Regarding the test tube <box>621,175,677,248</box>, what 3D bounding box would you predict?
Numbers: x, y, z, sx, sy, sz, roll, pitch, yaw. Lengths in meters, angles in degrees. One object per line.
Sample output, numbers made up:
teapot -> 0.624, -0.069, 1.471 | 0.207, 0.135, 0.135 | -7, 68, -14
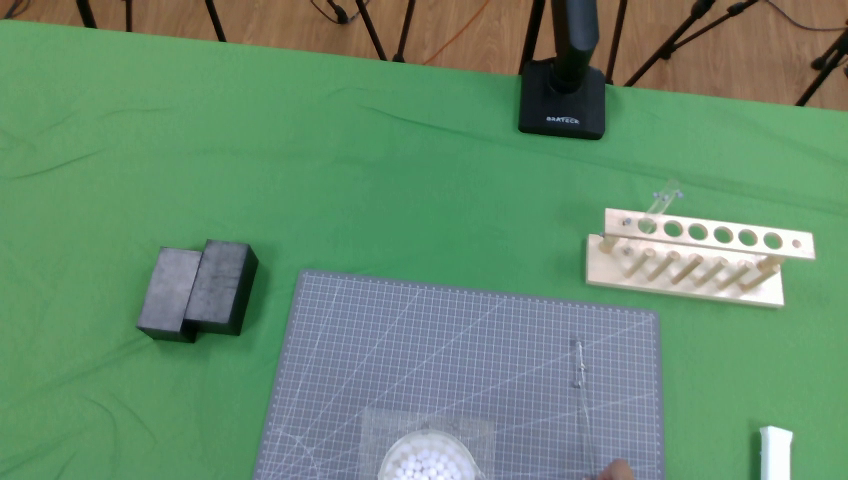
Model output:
test tube -> 0.258, -0.029, 0.704 | 0.017, 0.151, 0.017 | 0, 63, 0

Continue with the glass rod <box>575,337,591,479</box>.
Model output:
glass rod -> 0.182, 0.208, 0.689 | 0.008, 0.008, 0.198 | 2, 68, -1

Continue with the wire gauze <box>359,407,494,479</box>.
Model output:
wire gauze -> 0.000, 0.213, 0.542 | 0.125, 0.011, 0.120 | 3, 64, 2

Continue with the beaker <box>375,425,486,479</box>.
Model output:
beaker -> 0.004, 0.197, 0.496 | 0.084, 0.101, 0.073 | 2, 65, -1

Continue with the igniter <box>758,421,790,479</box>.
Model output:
igniter -> 0.365, 0.331, 0.635 | 0.057, 0.025, 0.275 | 18, 67, -5

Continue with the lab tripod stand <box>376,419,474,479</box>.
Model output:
lab tripod stand -> -0.001, 0.243, 0.601 | 0.148, 0.132, 0.147 | 0, 65, 0

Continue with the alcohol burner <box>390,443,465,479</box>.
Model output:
alcohol burner -> 0.005, 0.241, 0.613 | 0.078, 0.120, 0.077 | 1, 65, -3

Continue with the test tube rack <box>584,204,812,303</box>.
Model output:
test tube rack -> 0.327, 0.018, 0.739 | 0.242, 0.086, 0.066 | 7, 66, 2
